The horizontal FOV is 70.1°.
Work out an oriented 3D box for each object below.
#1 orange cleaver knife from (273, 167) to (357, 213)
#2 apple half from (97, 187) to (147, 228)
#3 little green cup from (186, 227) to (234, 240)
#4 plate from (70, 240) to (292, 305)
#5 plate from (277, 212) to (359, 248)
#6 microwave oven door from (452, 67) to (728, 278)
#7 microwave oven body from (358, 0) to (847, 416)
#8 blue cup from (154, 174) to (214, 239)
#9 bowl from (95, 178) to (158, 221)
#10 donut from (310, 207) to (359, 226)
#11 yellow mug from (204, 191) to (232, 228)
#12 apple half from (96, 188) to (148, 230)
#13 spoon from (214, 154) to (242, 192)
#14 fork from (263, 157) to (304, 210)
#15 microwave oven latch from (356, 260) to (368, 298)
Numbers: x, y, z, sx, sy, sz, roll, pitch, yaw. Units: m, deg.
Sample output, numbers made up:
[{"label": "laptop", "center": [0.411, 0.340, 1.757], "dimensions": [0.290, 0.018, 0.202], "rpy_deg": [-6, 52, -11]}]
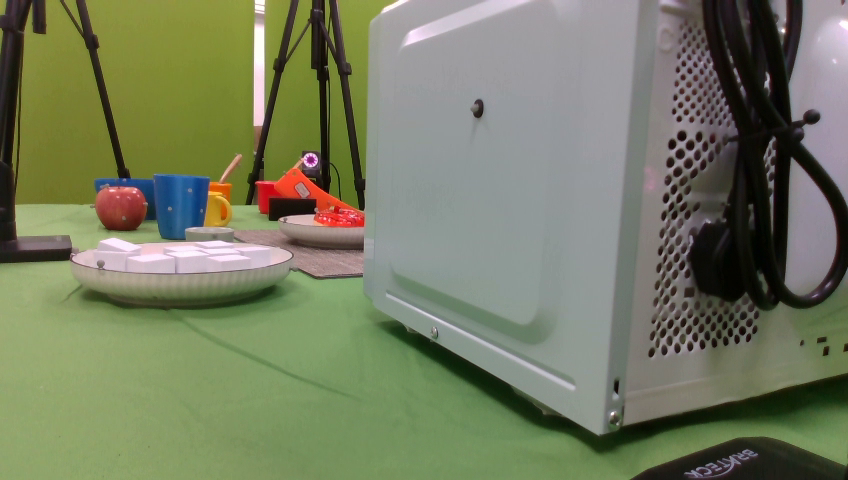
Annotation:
[{"label": "orange cleaver knife", "center": [-0.238, -0.091, 1.381], "dimensions": [0.212, 0.077, 0.012], "rpy_deg": [31, 0, -19]}, {"label": "apple half", "center": [-0.534, -0.059, 1.071], "dimensions": [0.082, 0.081, 0.032], "rpy_deg": [-1, 11, -25]}, {"label": "little green cup", "center": [-0.285, 0.005, 0.805], "dimensions": [0.061, 0.038, 0.061], "rpy_deg": [2, 8, 0]}, {"label": "plate", "center": [-0.242, 0.031, 0.618], "dimensions": [0.208, 0.039, 0.207], "rpy_deg": [2, 8, 0]}, {"label": "plate", "center": [-0.135, -0.017, 0.992], "dimensions": [0.209, 0.038, 0.209], "rpy_deg": [3, 8, 0]}, {"label": "microwave oven door", "center": [0.196, -0.094, 0.800], "dimensions": [0.354, 0.243, 0.039], "rpy_deg": [8, 9, 36]}, {"label": "microwave oven body", "center": [0.211, -0.047, 0.475], "dimensions": [0.444, 0.260, 0.324], "rpy_deg": [-1, 7, -28]}, {"label": "blue cup", "center": [-0.391, -0.054, 0.978], "dimensions": [0.093, 0.100, 0.092], "rpy_deg": [4, 6, 0]}, {"label": "bowl", "center": [-0.576, -0.081, 1.217], "dimensions": [0.151, 0.077, 0.151], "rpy_deg": [3, 8, 0]}, {"label": "donut", "center": [-0.137, -0.029, 0.995], "dimensions": [0.099, 0.048, 0.099], "rpy_deg": [4, 9, 0]}, {"label": "yellow mug", "center": [-0.415, -0.057, 1.131], "dimensions": [0.130, 0.064, 0.100], "rpy_deg": [6, 7, 16]}, {"label": "apple half", "center": [-0.517, -0.052, 1.036], "dimensions": [0.081, 0.074, 0.053], "rpy_deg": [2, 10, -26]}, {"label": "spoon", "center": [-0.439, -0.124, 1.318], "dimensions": [0.041, 0.193, 0.022], "rpy_deg": [5, -36, 16]}, {"label": "fork", "center": [-0.345, -0.143, 1.506], "dimensions": [0.028, 0.019, 0.207], "rpy_deg": [-4, 46, 29]}, {"label": "microwave oven latch", "center": [-0.020, 0.033, 0.530], "dimensions": [0.079, 0.029, 0.030], "rpy_deg": [0, 7, -26]}]
